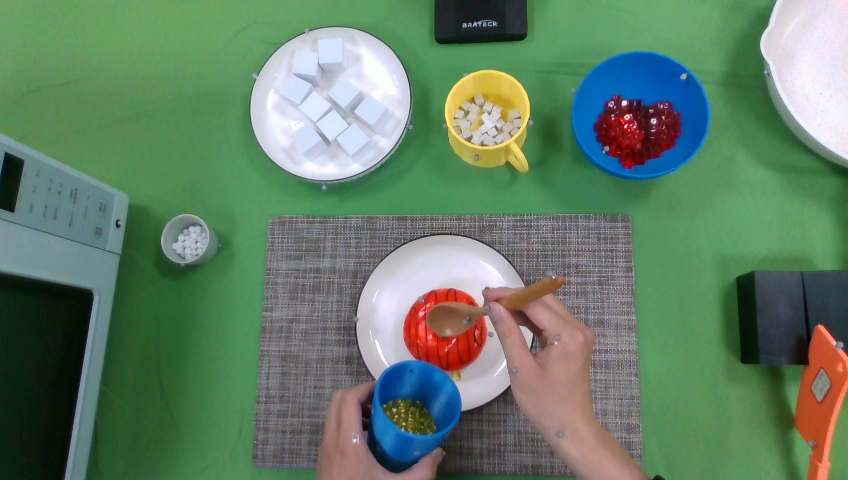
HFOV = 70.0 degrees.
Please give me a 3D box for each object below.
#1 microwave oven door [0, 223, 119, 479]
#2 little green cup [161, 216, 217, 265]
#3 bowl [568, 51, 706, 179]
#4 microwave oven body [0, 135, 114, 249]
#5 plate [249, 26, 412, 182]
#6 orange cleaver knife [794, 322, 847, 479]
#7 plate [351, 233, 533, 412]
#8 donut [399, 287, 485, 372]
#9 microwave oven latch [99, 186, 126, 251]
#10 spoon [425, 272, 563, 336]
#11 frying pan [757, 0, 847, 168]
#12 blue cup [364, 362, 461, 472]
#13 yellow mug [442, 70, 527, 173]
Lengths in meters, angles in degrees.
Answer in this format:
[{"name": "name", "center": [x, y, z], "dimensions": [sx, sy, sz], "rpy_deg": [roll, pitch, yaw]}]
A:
[{"name": "microwave oven door", "center": [-0.424, 0.168, 0.620], "dimensions": [0.039, 0.245, 0.354], "rpy_deg": [3, 79, 7]}, {"name": "little green cup", "center": [-0.292, 0.003, 0.759], "dimensions": [0.061, 0.039, 0.061], "rpy_deg": [-1, 81, 5]}, {"name": "bowl", "center": [0.242, -0.135, 0.713], "dimensions": [0.151, 0.077, 0.151], "rpy_deg": [-1, 80, 6]}, {"name": "microwave oven body", "center": [-0.565, 0.120, 0.648], "dimensions": [0.326, 0.261, 0.440], "rpy_deg": [3, 80, 6]}, {"name": "plate", "center": [-0.117, -0.171, 0.776], "dimensions": [0.207, 0.039, 0.206], "rpy_deg": [-1, 79, 6]}, {"name": "orange cleaver knife", "center": [0.408, 0.191, 0.634], "dimensions": [0.012, 0.077, 0.212], "rpy_deg": [-1, 108, 6]}, {"name": "plate", "center": [0.021, 0.096, 0.708], "dimensions": [0.209, 0.038, 0.208], "rpy_deg": [-1, 80, 6]}, {"name": "donut", "center": [0.021, 0.102, 0.695], "dimensions": [0.099, 0.048, 0.099], "rpy_deg": [-1, 83, 7]}, {"name": "microwave oven latch", "center": [-0.396, -0.028, 0.757], "dimensions": [0.030, 0.029, 0.079], "rpy_deg": [6, 81, 6]}, {"name": "spoon", "center": [0.056, 0.058, 0.525], "dimensions": [0.042, 0.193, 0.021], "rpy_deg": [40, 61, -12]}, {"name": "frying pan", "center": [0.520, -0.109, 0.667], "dimensions": [0.306, 0.103, 0.485], "rpy_deg": [5, 72, 8]}, {"name": "blue cup", "center": [-0.020, 0.184, 0.602], "dimensions": [0.093, 0.101, 0.091], "rpy_deg": [11, 48, -12]}, {"name": "yellow mug", "center": [0.083, -0.134, 0.735], "dimensions": [0.100, 0.064, 0.130], "rpy_deg": [-37, 79, -2]}]
